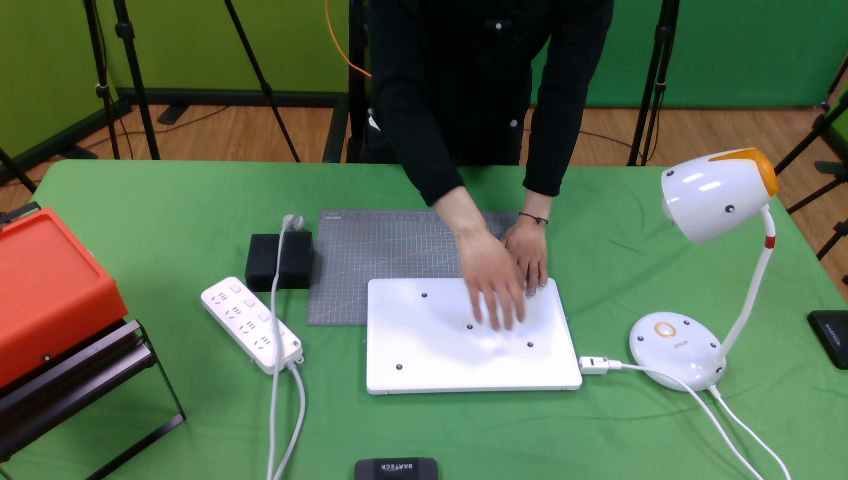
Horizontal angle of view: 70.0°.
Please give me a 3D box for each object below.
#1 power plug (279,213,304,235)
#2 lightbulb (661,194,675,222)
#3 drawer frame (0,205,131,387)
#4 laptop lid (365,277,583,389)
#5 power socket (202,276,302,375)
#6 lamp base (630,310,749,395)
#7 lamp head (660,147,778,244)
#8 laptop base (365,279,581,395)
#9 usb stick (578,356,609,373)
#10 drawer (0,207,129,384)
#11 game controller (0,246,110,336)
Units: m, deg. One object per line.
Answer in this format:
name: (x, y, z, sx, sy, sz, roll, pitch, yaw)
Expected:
power plug: (-0.263, -0.022, 1.184, 0.035, 0.053, 0.072, 8, 49, 32)
lightbulb: (0.370, -0.060, 0.807, 0.060, 0.107, 0.059, 19, 59, -36)
drawer frame: (-0.539, 0.075, 0.795, 0.200, 0.083, 0.213, 36, 55, 26)
laptop lid: (0.077, 0.152, 1.046, 0.357, 0.013, 0.240, 1, 45, -3)
power socket: (-0.296, 0.142, 1.034, 0.072, 0.033, 0.225, -34, 58, -30)
lamp base: (0.447, 0.142, 0.984, 0.161, 0.181, 0.178, -24, 55, -24)
lamp head: (0.389, -0.063, 0.784, 0.123, 0.113, 0.112, -22, 33, 37)
laptop base: (0.077, 0.162, 1.053, 0.355, 0.023, 0.234, 0, 44, -4)
usb stick: (0.274, 0.207, 1.007, 0.059, 0.027, 0.021, 0, 52, 0)
drawer: (-0.539, 0.074, 0.798, 0.193, 0.073, 0.211, 37, 55, 27)
game controller: (-0.511, 0.062, 0.830, 0.097, 0.052, 0.154, -30, 58, -32)
